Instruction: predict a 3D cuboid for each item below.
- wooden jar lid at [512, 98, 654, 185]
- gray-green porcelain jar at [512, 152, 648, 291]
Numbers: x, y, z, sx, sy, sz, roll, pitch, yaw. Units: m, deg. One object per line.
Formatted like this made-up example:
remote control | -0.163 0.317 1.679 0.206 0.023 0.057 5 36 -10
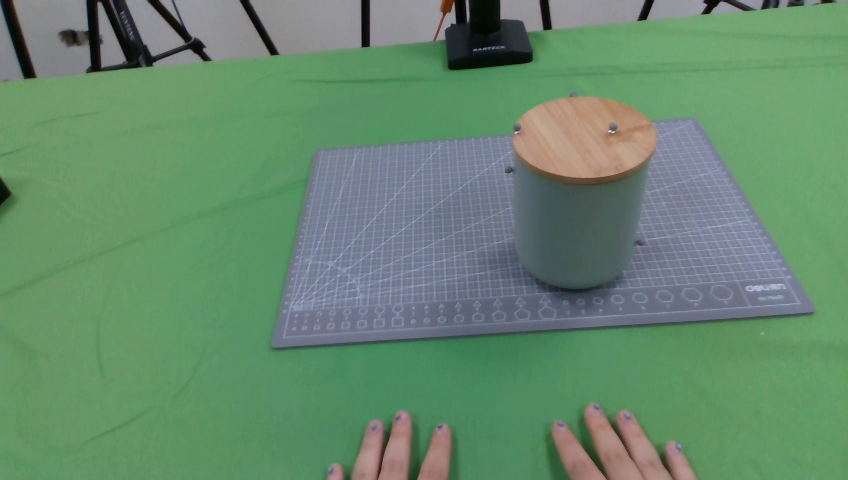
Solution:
wooden jar lid | 0.123 -0.074 0.474 0.108 0.021 0.107 -5 44 5
gray-green porcelain jar | 0.128 -0.028 0.516 0.106 0.128 0.105 -4 43 4
